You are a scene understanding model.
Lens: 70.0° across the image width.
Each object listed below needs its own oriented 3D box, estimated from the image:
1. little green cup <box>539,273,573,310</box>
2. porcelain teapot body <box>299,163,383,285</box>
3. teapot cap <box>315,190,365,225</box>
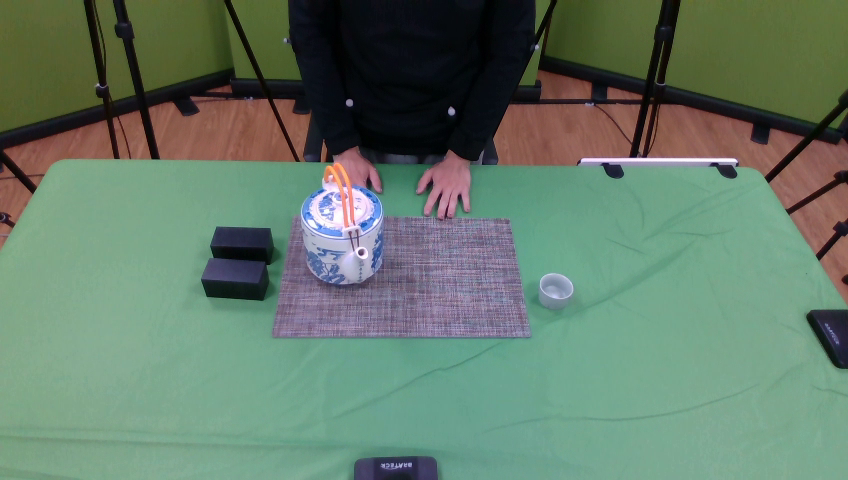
[{"bbox_3d":[0.240,0.096,1.113,0.061,0.039,0.061,2,47,-2],"label":"little green cup"},{"bbox_3d":[-0.134,-0.014,1.057,0.145,0.226,0.204,-16,50,-19],"label":"porcelain teapot body"},{"bbox_3d":[-0.145,-0.061,1.046,0.085,0.044,0.084,1,49,-1],"label":"teapot cap"}]
